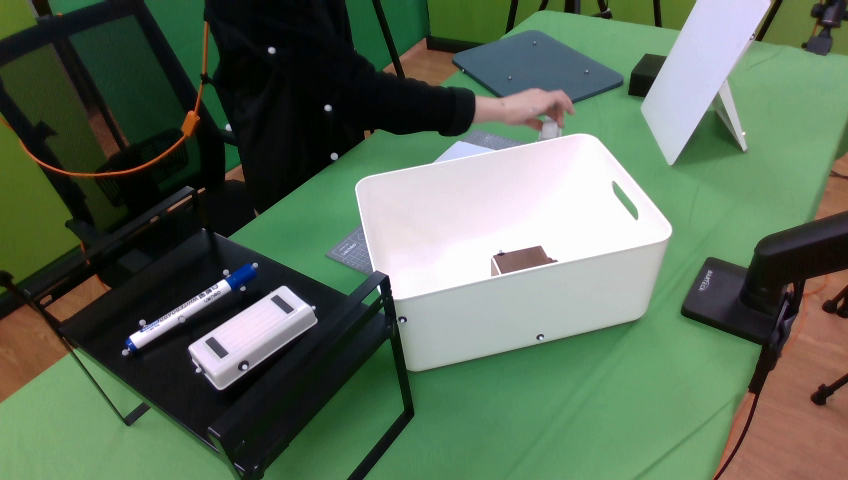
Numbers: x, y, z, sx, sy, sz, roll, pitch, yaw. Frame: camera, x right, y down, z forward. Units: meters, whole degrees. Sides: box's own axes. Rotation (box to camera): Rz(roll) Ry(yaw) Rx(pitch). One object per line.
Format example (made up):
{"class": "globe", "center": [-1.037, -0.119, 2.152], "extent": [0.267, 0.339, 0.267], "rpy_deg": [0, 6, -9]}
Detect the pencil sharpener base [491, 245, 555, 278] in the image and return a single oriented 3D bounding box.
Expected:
{"class": "pencil sharpener base", "center": [0.134, 0.068, 0.800], "extent": [0.077, 0.107, 0.061], "rpy_deg": [-12, 42, -7]}

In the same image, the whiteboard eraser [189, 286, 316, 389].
{"class": "whiteboard eraser", "center": [-0.166, 0.096, 0.593], "extent": [0.113, 0.042, 0.055], "rpy_deg": [-36, 47, -29]}

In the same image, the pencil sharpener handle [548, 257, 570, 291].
{"class": "pencil sharpener handle", "center": [0.182, 0.045, 0.801], "extent": [0.031, 0.068, 0.035], "rpy_deg": [-12, 57, -7]}

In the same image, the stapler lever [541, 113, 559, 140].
{"class": "stapler lever", "center": [0.223, -0.206, 1.061], "extent": [0.027, 0.040, 0.118], "rpy_deg": [7, 32, 12]}

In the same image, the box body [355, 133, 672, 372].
{"class": "box body", "center": [0.108, 0.013, 0.834], "extent": [0.365, 0.161, 0.252], "rpy_deg": [-12, 41, -6]}

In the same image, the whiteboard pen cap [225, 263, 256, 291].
{"class": "whiteboard pen cap", "center": [-0.204, 0.041, 0.668], "extent": [0.033, 0.018, 0.018], "rpy_deg": [-36, 48, -22]}

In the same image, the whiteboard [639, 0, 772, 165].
{"class": "whiteboard", "center": [0.543, -0.298, 1.076], "extent": [0.144, 0.305, 0.216], "rpy_deg": [12, 40, -7]}

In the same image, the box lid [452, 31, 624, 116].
{"class": "box lid", "center": [0.256, -0.401, 1.419], "extent": [0.264, 0.015, 0.368], "rpy_deg": [-22, 43, -17]}

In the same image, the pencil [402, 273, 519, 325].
{"class": "pencil", "center": [0.056, 0.082, 0.870], "extent": [0.195, 0.012, 0.012], "rpy_deg": [-21, 42, -19]}

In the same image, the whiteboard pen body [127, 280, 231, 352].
{"class": "whiteboard pen body", "center": [-0.248, 0.072, 0.645], "extent": [0.141, 0.017, 0.017], "rpy_deg": [-35, 47, -23]}

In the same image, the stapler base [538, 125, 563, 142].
{"class": "stapler base", "center": [0.224, -0.183, 1.073], "extent": [0.041, 0.024, 0.130], "rpy_deg": [7, 33, 11]}
